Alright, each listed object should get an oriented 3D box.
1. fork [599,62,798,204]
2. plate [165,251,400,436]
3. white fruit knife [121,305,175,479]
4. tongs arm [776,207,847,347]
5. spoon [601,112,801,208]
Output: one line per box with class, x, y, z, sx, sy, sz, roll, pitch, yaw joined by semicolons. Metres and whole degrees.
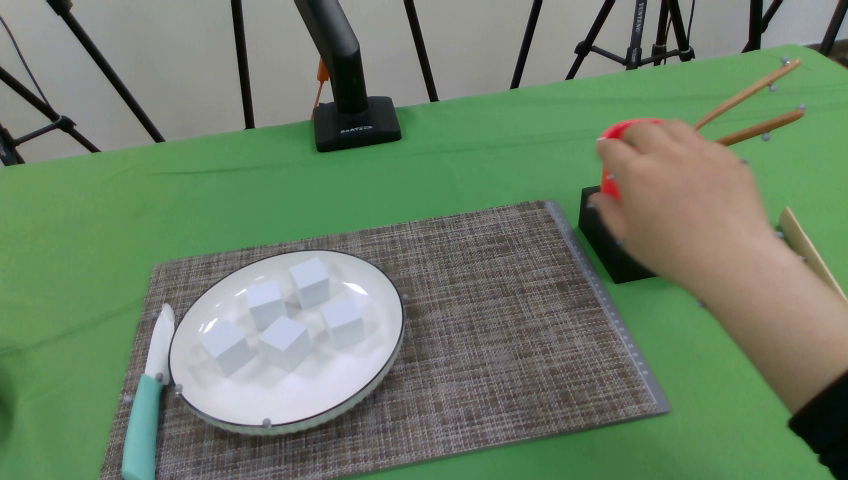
fork;0.255;-0.098;0.573;0.207;0.019;0.028;-41;13;20
plate;-0.124;0.091;0.553;0.207;0.039;0.205;-3;40;3
white fruit knife;-0.242;0.129;0.540;0.027;0.016;0.205;13;32;-24
tongs arm;0.378;0.097;0.501;0.028;0.028;0.383;-1;40;2
spoon;0.235;-0.067;0.538;0.041;0.194;0.021;-35;90;-37
